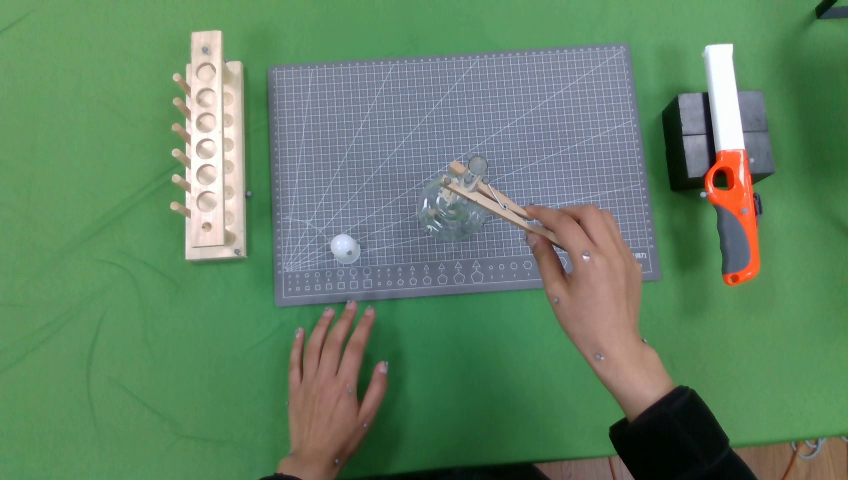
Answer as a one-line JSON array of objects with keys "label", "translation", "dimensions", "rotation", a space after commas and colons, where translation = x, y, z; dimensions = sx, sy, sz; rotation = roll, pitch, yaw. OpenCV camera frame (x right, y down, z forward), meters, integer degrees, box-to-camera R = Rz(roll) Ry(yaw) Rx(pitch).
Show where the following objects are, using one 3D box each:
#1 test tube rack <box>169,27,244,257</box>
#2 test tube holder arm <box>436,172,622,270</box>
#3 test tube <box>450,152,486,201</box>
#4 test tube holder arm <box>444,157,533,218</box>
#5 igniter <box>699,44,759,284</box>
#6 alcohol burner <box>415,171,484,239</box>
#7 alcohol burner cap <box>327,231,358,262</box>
[{"label": "test tube rack", "translation": [-0.250, -0.108, 0.689], "dimensions": [0.067, 0.085, 0.241], "rotation": [-3, 80, 0]}, {"label": "test tube holder arm", "translation": [0.093, -0.016, 0.530], "dimensions": [0.178, 0.015, 0.013], "rotation": [27, 81, -4]}, {"label": "test tube", "translation": [0.036, -0.051, 0.520], "dimensions": [0.017, 0.150, 0.017], "rotation": [0, 85, -2]}, {"label": "test tube holder arm", "translation": [0.057, -0.043, 0.528], "dimensions": [0.088, 0.015, 0.010], "rotation": [36, 80, -2]}, {"label": "igniter", "translation": [0.337, -0.088, 0.676], "dimensions": [0.057, 0.025, 0.275], "rotation": [-1, 79, 5]}, {"label": "alcohol burner", "translation": [0.028, -0.042, 0.664], "dimensions": [0.078, 0.119, 0.077], "rotation": [0, 81, 1]}, {"label": "alcohol burner cap", "translation": [-0.094, 0.005, 0.691], "dimensions": [0.034, 0.048, 0.033], "rotation": [0, 79, 0]}]
